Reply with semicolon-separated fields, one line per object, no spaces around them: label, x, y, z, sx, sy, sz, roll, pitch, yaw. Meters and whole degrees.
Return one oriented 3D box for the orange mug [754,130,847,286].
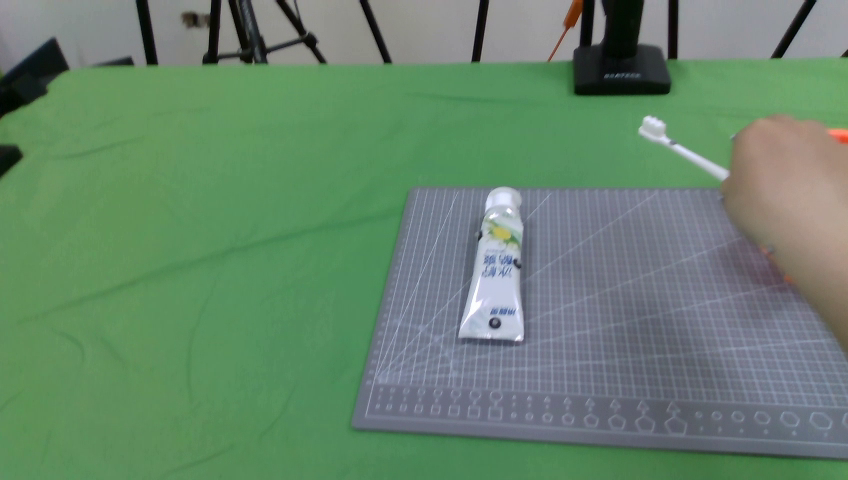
orange mug;0.335;-0.022;0.512;0.083;0.102;0.126;22;45;29

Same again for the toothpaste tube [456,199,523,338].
toothpaste tube;0.063;0.020;0.553;0.055;0.035;0.163;-2;46;12

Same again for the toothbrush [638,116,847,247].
toothbrush;0.235;-0.050;0.460;0.014;0.017;0.180;-20;46;-27

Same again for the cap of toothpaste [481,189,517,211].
cap of toothpaste;0.075;-0.036;0.605;0.037;0.038;0.011;4;49;11
